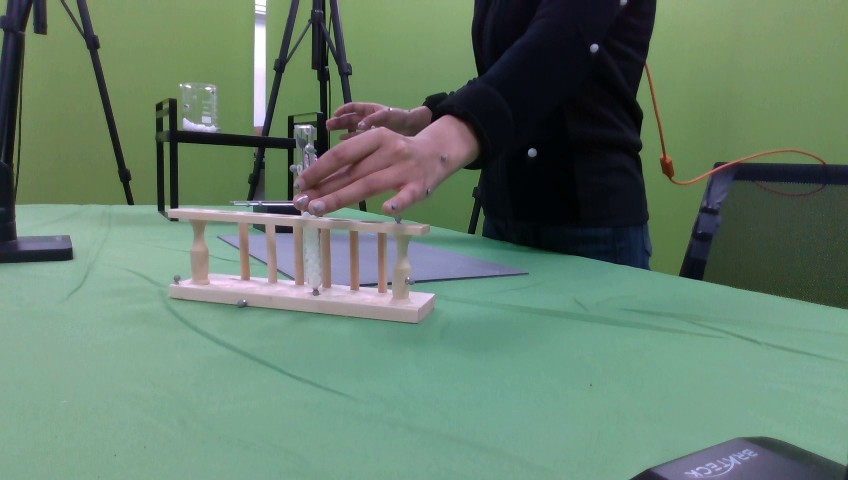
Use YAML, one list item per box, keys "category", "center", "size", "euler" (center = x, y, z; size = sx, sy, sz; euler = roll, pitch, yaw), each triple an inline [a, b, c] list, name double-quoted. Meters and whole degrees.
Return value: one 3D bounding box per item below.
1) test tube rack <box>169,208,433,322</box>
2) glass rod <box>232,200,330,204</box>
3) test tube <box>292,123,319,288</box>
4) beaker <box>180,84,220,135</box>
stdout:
- category: "test tube rack"
  center: [-0.115, 0.018, 0.574]
  size: [0.242, 0.085, 0.067]
  euler: [4, 7, 13]
- category: "glass rod"
  center: [-0.266, -0.071, 1.146]
  size: [0.201, 0.008, 0.008]
  euler: [-4, 9, -40]
- category: "test tube"
  center: [-0.106, -0.029, 0.544]
  size: [0.017, 0.150, 0.017]
  euler: [-1, 12, 1]
- category: "beaker"
  center: [-0.475, -0.275, 1.281]
  size: [0.073, 0.100, 0.084]
  euler: [6, 9, 35]
